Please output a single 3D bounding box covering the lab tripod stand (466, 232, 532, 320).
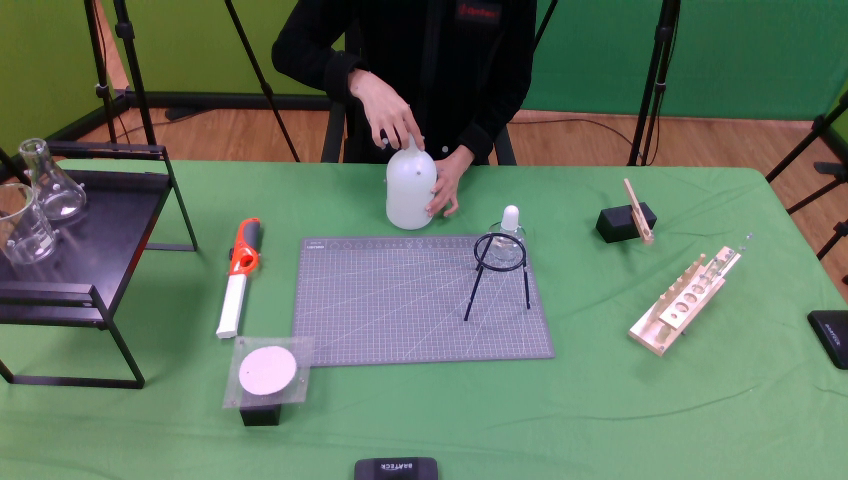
[{"bbox_3d":[0.125,0.059,1.065,0.148,0.132,0.147,1,45,0],"label":"lab tripod stand"}]

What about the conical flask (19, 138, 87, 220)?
[{"bbox_3d":[-0.576,-0.097,0.930,0.075,0.122,0.075,2,46,-2],"label":"conical flask"}]

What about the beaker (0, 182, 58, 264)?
[{"bbox_3d":[-0.582,-0.019,0.870,0.074,0.101,0.083,5,46,1],"label":"beaker"}]

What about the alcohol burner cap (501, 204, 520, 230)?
[{"bbox_3d":[0.164,-0.046,1.133,0.034,0.048,0.033,2,40,-2],"label":"alcohol burner cap"}]

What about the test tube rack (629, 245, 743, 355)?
[{"bbox_3d":[0.474,0.095,1.091,0.242,0.085,0.066,-34,56,-31],"label":"test tube rack"}]

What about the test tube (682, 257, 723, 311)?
[{"bbox_3d":[0.475,0.080,1.037,0.017,0.151,0.017,1,51,-1],"label":"test tube"}]

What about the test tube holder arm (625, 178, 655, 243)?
[{"bbox_3d":[0.433,-0.062,1.220,0.013,0.015,0.177,1,47,-3],"label":"test tube holder arm"}]

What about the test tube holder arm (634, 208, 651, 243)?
[{"bbox_3d":[0.428,-0.030,1.189,0.010,0.015,0.087,1,47,-2],"label":"test tube holder arm"}]

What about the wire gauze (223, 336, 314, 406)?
[{"bbox_3d":[-0.236,0.197,0.931,0.121,0.011,0.124,1,45,-4],"label":"wire gauze"}]

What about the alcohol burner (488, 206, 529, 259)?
[{"bbox_3d":[0.163,-0.020,1.158,0.078,0.120,0.077,0,47,0],"label":"alcohol burner"}]

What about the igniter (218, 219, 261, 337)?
[{"bbox_3d":[-0.336,0.060,1.111,0.057,0.025,0.274,-8,46,3],"label":"igniter"}]

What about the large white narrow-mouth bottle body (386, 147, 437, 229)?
[{"bbox_3d":[-0.025,-0.119,1.190,0.102,0.195,0.101,2,46,-2],"label":"large white narrow-mouth bottle body"}]

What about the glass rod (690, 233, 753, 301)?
[{"bbox_3d":[0.507,0.053,1.041,0.008,0.200,0.008,5,51,-6],"label":"glass rod"}]

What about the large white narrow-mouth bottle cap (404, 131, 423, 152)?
[{"bbox_3d":[-0.019,-0.183,1.121,0.038,0.024,0.037,2,46,-2],"label":"large white narrow-mouth bottle cap"}]
